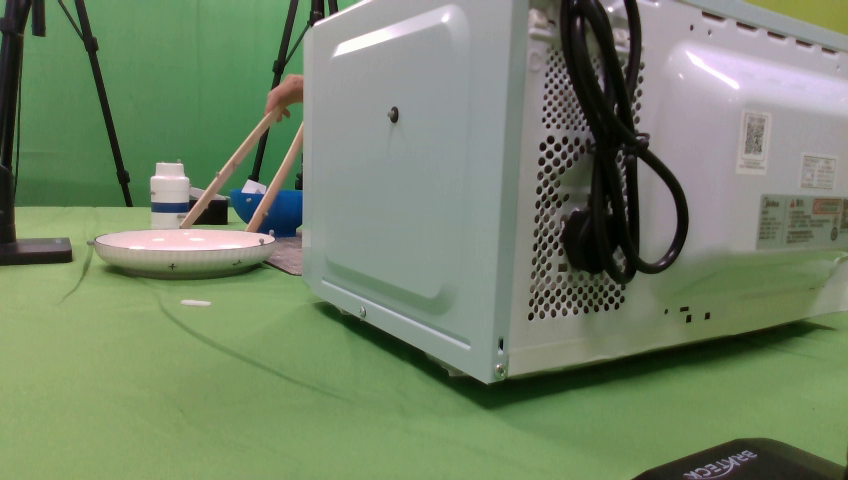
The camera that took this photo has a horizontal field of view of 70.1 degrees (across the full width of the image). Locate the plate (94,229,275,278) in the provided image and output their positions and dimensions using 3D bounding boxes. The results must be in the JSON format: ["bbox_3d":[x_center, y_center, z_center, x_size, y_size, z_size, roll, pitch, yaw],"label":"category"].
[{"bbox_3d":[-0.291,0.016,0.750,0.208,0.039,0.207,2,7,0],"label":"plate"}]

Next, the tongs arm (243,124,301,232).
[{"bbox_3d":[-0.239,-0.132,1.012,0.028,0.028,0.387,5,46,7],"label":"tongs arm"}]

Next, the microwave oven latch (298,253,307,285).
[{"bbox_3d":[-0.081,0.027,0.582,0.079,0.029,0.030,-1,7,-33],"label":"microwave oven latch"}]

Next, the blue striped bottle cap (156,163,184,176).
[{"bbox_3d":[-0.438,-0.122,1.045,0.044,0.020,0.044,4,6,0],"label":"blue striped bottle cap"}]

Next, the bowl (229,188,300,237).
[{"bbox_3d":[-0.265,-0.048,1.066,0.151,0.077,0.151,2,8,0],"label":"bowl"}]

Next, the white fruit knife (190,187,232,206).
[{"bbox_3d":[-0.413,-0.081,1.270,0.208,0.027,0.016,18,14,-41],"label":"white fruit knife"}]

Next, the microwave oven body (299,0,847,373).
[{"bbox_3d":[0.152,-0.055,0.542,0.444,0.260,0.324,-2,7,-33],"label":"microwave oven body"}]

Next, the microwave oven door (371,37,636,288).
[{"bbox_3d":[0.109,-0.080,0.686,0.358,0.243,0.039,-2,9,-33],"label":"microwave oven door"}]

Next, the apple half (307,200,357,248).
[{"bbox_3d":[-0.135,-0.024,0.941,0.053,0.074,0.081,13,9,39],"label":"apple half"}]

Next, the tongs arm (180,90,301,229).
[{"bbox_3d":[-0.291,-0.142,1.018,0.051,0.026,0.384,10,47,8],"label":"tongs arm"}]

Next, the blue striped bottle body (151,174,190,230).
[{"bbox_3d":[-0.439,-0.071,1.052,0.063,0.120,0.063,2,7,0],"label":"blue striped bottle body"}]

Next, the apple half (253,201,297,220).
[{"bbox_3d":[-0.264,-0.053,1.066,0.081,0.033,0.081,2,8,0],"label":"apple half"}]
